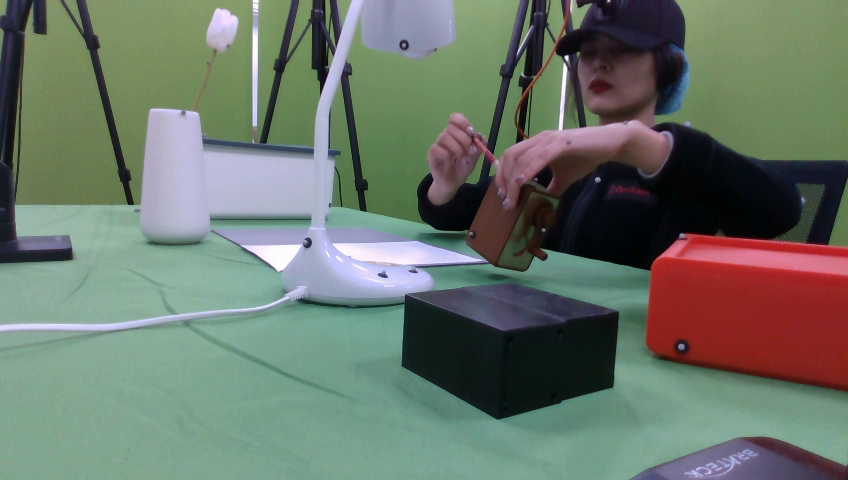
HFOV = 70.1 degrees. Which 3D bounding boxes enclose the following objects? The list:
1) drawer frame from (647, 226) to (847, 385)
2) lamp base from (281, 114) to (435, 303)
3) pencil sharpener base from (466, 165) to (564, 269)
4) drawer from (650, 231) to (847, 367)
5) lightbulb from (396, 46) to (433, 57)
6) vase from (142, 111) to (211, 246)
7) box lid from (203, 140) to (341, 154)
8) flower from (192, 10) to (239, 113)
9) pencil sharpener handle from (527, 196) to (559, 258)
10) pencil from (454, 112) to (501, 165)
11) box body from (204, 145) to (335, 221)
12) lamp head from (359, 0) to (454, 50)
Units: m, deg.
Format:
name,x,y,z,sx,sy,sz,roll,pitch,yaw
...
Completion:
name,x,y,z,sx,sy,sz,roll,pitch,yaw
drawer frame,0.303,0.042,0.495,0.201,0.082,0.214,6,9,26
lamp base,-0.071,-0.035,0.614,0.160,0.180,0.180,6,10,27
pencil sharpener base,0.111,-0.026,0.743,0.062,0.107,0.076,11,20,-39
drawer,0.303,0.042,0.498,0.194,0.073,0.212,6,8,27
lightbulb,-0.018,-0.265,0.692,0.059,0.108,0.059,-10,28,6
vase,-0.378,-0.093,0.920,0.098,0.200,0.098,2,9,0
box lid,-0.396,-0.212,1.373,0.373,0.015,0.262,-1,9,-29
flower,-0.354,-0.174,0.915,0.038,0.361,0.044,18,-4,12
pencil sharpener handle,0.143,-0.014,0.703,0.036,0.067,0.030,8,22,-38
pencil,0.075,-0.147,0.869,0.012,0.012,0.193,0,31,-17
box body,-0.411,-0.135,1.386,0.366,0.160,0.253,-2,9,-29
lamp head,-0.024,-0.283,0.674,0.112,0.123,0.112,-3,38,3
